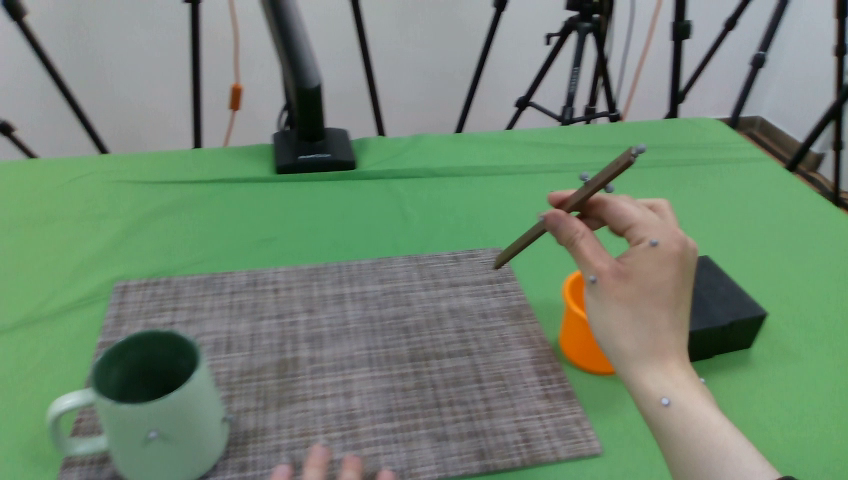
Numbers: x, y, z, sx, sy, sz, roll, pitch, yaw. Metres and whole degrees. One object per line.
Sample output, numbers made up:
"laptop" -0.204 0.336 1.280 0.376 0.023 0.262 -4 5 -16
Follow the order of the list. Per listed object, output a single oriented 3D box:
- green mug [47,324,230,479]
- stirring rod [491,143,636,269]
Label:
"green mug" -0.223 0.134 0.476 0.126 0.106 0.091 -12 40 -19
"stirring rod" 0.089 -0.017 0.426 0.006 0.176 0.014 24 59 -11
